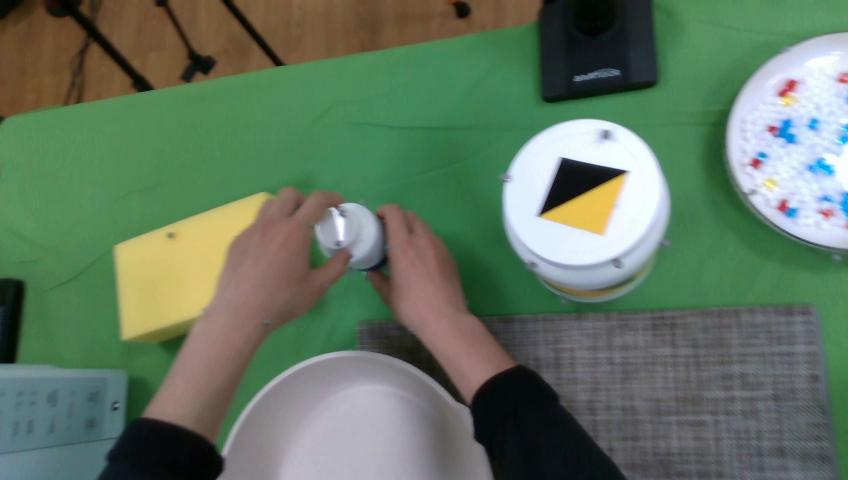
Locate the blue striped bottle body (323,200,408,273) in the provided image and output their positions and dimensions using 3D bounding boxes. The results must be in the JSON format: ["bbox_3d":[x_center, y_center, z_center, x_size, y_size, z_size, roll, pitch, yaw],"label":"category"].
[{"bbox_3d":[-0.063,-0.003,0.632,0.063,0.121,0.063,-3,79,16],"label":"blue striped bottle body"}]

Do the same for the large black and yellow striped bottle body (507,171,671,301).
[{"bbox_3d":[0.146,-0.020,0.536,0.130,0.185,0.130,-4,78,17],"label":"large black and yellow striped bottle body"}]

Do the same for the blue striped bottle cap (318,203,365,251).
[{"bbox_3d":[-0.079,-0.012,0.584,0.044,0.021,0.044,-3,76,14],"label":"blue striped bottle cap"}]

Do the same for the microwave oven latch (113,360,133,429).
[{"bbox_3d":[-0.365,0.181,0.716,0.030,0.030,0.079,-4,79,17],"label":"microwave oven latch"}]

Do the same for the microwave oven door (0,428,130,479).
[{"bbox_3d":[-0.398,0.376,0.580,0.039,0.245,0.354,-4,78,17],"label":"microwave oven door"}]

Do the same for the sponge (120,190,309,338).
[{"bbox_3d":[-0.249,0.032,0.716,0.206,0.061,0.117,-18,75,13],"label":"sponge"}]

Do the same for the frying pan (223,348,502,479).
[{"bbox_3d":[-0.013,0.336,0.556,0.307,0.103,0.483,-34,63,10],"label":"frying pan"}]

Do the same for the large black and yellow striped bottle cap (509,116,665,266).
[{"bbox_3d":[0.121,-0.037,0.457,0.114,0.019,0.114,-3,80,17],"label":"large black and yellow striped bottle cap"}]

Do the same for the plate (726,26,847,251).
[{"bbox_3d":[0.387,-0.091,0.550,0.208,0.038,0.208,-4,79,18],"label":"plate"}]

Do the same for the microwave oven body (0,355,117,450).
[{"bbox_3d":[-0.536,0.346,0.635,0.325,0.262,0.440,-4,79,17],"label":"microwave oven body"}]
